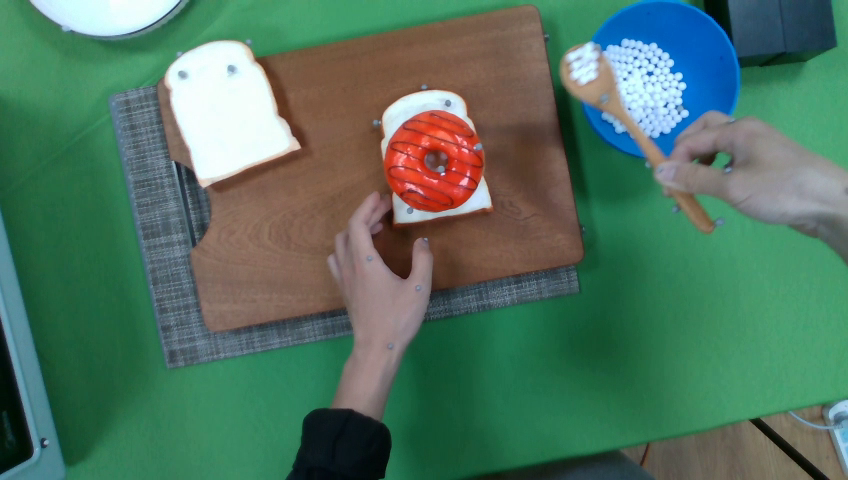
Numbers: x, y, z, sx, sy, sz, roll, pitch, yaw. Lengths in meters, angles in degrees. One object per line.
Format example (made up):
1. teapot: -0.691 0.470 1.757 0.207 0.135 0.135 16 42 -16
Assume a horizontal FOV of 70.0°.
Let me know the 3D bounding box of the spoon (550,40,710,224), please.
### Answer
1. spoon: 0.160 -0.088 0.478 0.041 0.022 0.192 -29 64 0

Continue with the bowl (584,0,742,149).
1. bowl: 0.223 -0.161 0.604 0.151 0.077 0.151 0 92 1

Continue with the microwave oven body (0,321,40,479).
1. microwave oven body: -0.585 0.074 0.531 0.326 0.260 0.441 -14 92 1

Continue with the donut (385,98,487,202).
1. donut: 0.012 -0.085 0.582 0.099 0.048 0.099 0 93 1

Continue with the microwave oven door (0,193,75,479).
1. microwave oven door: -0.433 0.081 0.524 0.039 0.243 0.356 -14 91 2

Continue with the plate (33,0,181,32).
1. plate: -0.326 -0.318 0.628 0.208 0.039 0.207 0 92 1

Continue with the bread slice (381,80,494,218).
1. bread slice: 0.008 -0.094 0.612 0.105 0.019 0.131 -12 93 0

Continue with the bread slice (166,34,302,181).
1. bread slice: -0.199 -0.138 0.612 0.107 0.018 0.134 -25 90 1
